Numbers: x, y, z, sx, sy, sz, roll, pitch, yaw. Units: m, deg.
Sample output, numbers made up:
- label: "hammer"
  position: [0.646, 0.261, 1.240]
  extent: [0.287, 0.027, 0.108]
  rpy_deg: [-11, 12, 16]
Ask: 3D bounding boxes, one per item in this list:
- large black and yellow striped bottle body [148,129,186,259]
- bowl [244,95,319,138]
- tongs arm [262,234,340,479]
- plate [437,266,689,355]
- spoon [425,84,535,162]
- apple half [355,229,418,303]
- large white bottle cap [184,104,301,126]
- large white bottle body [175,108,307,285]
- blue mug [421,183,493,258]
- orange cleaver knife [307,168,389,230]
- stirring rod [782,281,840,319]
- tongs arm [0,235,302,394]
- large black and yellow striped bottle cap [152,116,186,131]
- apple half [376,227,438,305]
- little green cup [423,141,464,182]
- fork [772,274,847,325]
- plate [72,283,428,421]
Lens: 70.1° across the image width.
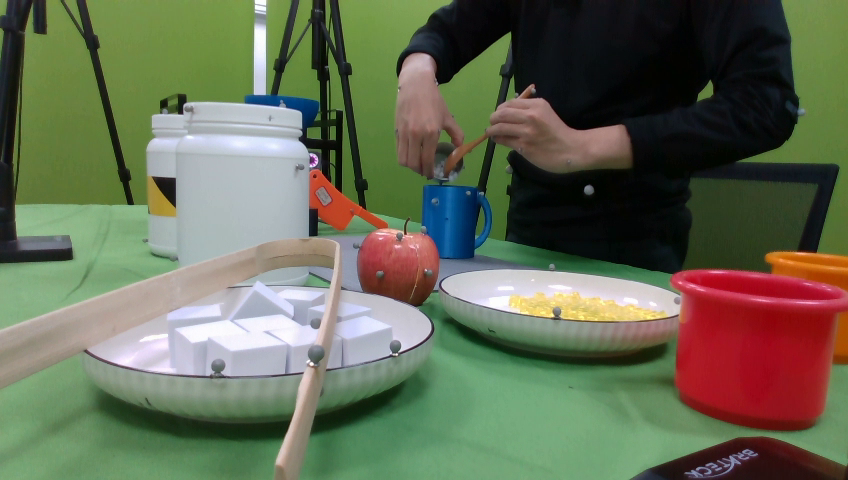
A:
- label: "large black and yellow striped bottle body"
  position: [-0.310, -0.073, 0.838]
  extent: [0.131, 0.184, 0.130]
  rpy_deg: [2, 8, 0]
- label: "bowl"
  position: [-0.293, -0.251, 1.249]
  extent: [0.151, 0.077, 0.151]
  rpy_deg: [2, 7, 0]
- label: "tongs arm"
  position: [-0.074, 0.039, 0.349]
  extent: [0.051, 0.026, 0.384]
  rpy_deg: [-2, 10, -3]
- label: "plate"
  position: [0.114, 0.057, 0.517]
  extent: [0.209, 0.038, 0.209]
  rpy_deg: [3, 7, 0]
- label: "spoon"
  position: [0.076, -0.166, 0.862]
  extent: [0.193, 0.021, 0.042]
  rpy_deg: [-27, 11, 25]
- label: "apple half"
  position: [-0.044, 0.027, 0.564]
  extent: [0.081, 0.081, 0.033]
  rpy_deg: [9, 5, 42]
- label: "large white bottle cap"
  position: [-0.184, -0.126, 0.618]
  extent: [0.115, 0.018, 0.115]
  rpy_deg: [2, 8, 0]
- label: "large white bottle body"
  position: [-0.188, -0.042, 0.630]
  extent: [0.131, 0.184, 0.130]
  rpy_deg: [2, 8, 0]
- label: "blue mug"
  position: [0.052, -0.032, 0.912]
  extent: [0.117, 0.106, 0.082]
  rpy_deg: [-1, 8, -24]
- label: "orange cleaver knife"
  position: [-0.158, -0.060, 1.166]
  extent: [0.212, 0.077, 0.012]
  rpy_deg: [34, -12, -32]
- label: "stirring rod"
  position: [0.344, 0.019, 0.460]
  extent: [0.014, 0.006, 0.176]
  rpy_deg: [-13, -27, -30]
- label: "tongs arm"
  position: [-0.157, 0.038, 0.351]
  extent: [0.028, 0.028, 0.388]
  rpy_deg: [-3, 9, 12]
- label: "large black and yellow striped bottle cap"
  position: [-0.309, -0.155, 0.826]
  extent: [0.115, 0.019, 0.115]
  rpy_deg: [3, 6, 0]
- label: "apple half"
  position: [-0.017, 0.026, 0.593]
  extent: [0.080, 0.074, 0.053]
  rpy_deg: [4, 2, 43]
- label: "little green cup"
  position: [0.028, -0.120, 0.932]
  extent: [0.062, 0.061, 0.038]
  rpy_deg: [1, -11, -7]
- label: "fork"
  position: [0.332, 0.018, 0.443]
  extent: [0.028, 0.018, 0.207]
  rpy_deg: [-1, -36, -15]
- label: "plate"
  position: [-0.102, 0.066, 0.381]
  extent: [0.208, 0.039, 0.207]
  rpy_deg: [2, 7, 0]
